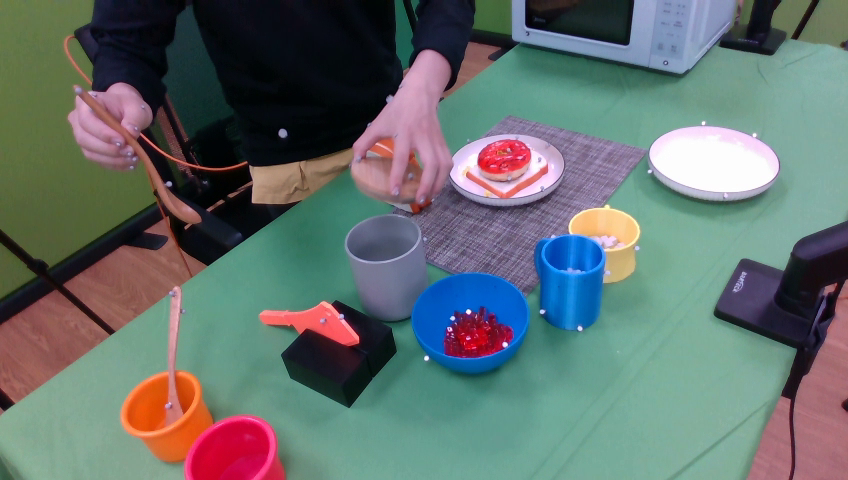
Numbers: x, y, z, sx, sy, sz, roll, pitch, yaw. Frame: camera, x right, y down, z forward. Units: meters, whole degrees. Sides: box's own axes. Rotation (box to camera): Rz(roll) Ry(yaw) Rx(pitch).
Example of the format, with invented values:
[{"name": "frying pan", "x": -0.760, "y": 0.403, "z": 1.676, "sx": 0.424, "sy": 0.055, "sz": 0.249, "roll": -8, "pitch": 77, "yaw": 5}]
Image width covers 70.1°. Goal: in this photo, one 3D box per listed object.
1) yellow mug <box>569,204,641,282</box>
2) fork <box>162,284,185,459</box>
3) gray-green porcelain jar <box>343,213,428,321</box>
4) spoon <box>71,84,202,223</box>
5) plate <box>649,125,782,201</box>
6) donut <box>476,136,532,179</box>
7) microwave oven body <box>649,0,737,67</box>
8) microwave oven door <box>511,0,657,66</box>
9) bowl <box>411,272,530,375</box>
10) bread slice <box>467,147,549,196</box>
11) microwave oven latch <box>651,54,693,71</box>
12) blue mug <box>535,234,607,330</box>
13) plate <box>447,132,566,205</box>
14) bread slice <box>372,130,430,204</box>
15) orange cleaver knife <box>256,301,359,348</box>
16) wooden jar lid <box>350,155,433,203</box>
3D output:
[{"name": "yellow mug", "x": 0.268, "y": -0.004, "z": 0.904, "sx": 0.099, "sy": 0.064, "sz": 0.130, "roll": 6, "pitch": 41, "yaw": 15}, {"name": "fork", "x": -0.303, "y": 0.157, "z": 0.733, "sx": 0.028, "sy": 0.019, "sz": 0.207, "roll": -3, "pitch": 84, "yaw": 14}, {"name": "gray-green porcelain jar", "x": -0.049, "y": 0.042, "z": 0.849, "sx": 0.106, "sy": 0.127, "sz": 0.105, "roll": -4, "pitch": 41, "yaw": 4}, {"name": "spoon", "x": -0.303, "y": -0.087, "z": 0.650, "sx": 0.021, "sy": 0.195, "sz": 0.041, "roll": -30, "pitch": 40, "yaw": -6}, {"name": "plate", "x": 0.493, "y": -0.127, "z": 1.036, "sx": 0.207, "sy": 0.039, "sz": 0.206, "roll": -4, "pitch": 41, "yaw": 4}, {"name": "donut", "x": 0.140, "y": -0.146, "z": 1.058, "sx": 0.099, "sy": 0.048, "sz": 0.098, "roll": -6, "pitch": 41, "yaw": 6}, {"name": "microwave oven body", "x": 0.475, "y": -0.602, "z": 1.411, "sx": 0.438, "sy": 0.261, "sz": 0.327, "roll": 23, "pitch": 50, "yaw": 32}, {"name": "microwave oven door", "x": 0.351, "y": -0.539, "z": 1.348, "sx": 0.353, "sy": 0.245, "sz": 0.039, "roll": 24, "pitch": 50, "yaw": 31}, {"name": "bowl", "x": 0.061, "y": 0.120, "z": 0.780, "sx": 0.151, "sy": 0.077, "sz": 0.150, "roll": -4, "pitch": 40, "yaw": 4}, {"name": "bread slice", "x": 0.156, "y": -0.128, "z": 1.085, "sx": 0.132, "sy": 0.019, "sz": 0.104, "roll": -35, "pitch": 48, "yaw": -23}, {"name": "microwave oven latch", "x": 0.532, "y": -0.386, "z": 1.301, "sx": 0.078, "sy": 0.029, "sz": 0.030, "roll": 26, "pitch": 51, "yaw": 33}, {"name": "blue mug", "x": 0.191, "y": 0.048, "z": 0.824, "sx": 0.082, "sy": 0.106, "sz": 0.115, "roll": -26, "pitch": 44, "yaw": -20}, {"name": "plate", "x": 0.146, "y": -0.124, "z": 1.076, "sx": 0.209, "sy": 0.038, "sz": 0.208, "roll": -4, "pitch": 41, "yaw": 4}, {"name": "bread slice", "x": -0.043, "y": -0.127, "z": 1.038, "sx": 0.106, "sy": 0.135, "sz": 0.018, "roll": 29, "pitch": 61, "yaw": 33}, {"name": "orange cleaver knife", "x": -0.161, "y": 0.116, "z": 0.813, "sx": 0.210, "sy": 0.077, "sz": 0.012, "roll": -9, "pitch": 29, "yaw": 48}, {"name": "wooden jar lid", "x": -0.042, "y": -0.078, "z": 0.775, "sx": 0.109, "sy": 0.021, "sz": 0.108, "roll": 11, "pitch": 29, "yaw": -6}]
